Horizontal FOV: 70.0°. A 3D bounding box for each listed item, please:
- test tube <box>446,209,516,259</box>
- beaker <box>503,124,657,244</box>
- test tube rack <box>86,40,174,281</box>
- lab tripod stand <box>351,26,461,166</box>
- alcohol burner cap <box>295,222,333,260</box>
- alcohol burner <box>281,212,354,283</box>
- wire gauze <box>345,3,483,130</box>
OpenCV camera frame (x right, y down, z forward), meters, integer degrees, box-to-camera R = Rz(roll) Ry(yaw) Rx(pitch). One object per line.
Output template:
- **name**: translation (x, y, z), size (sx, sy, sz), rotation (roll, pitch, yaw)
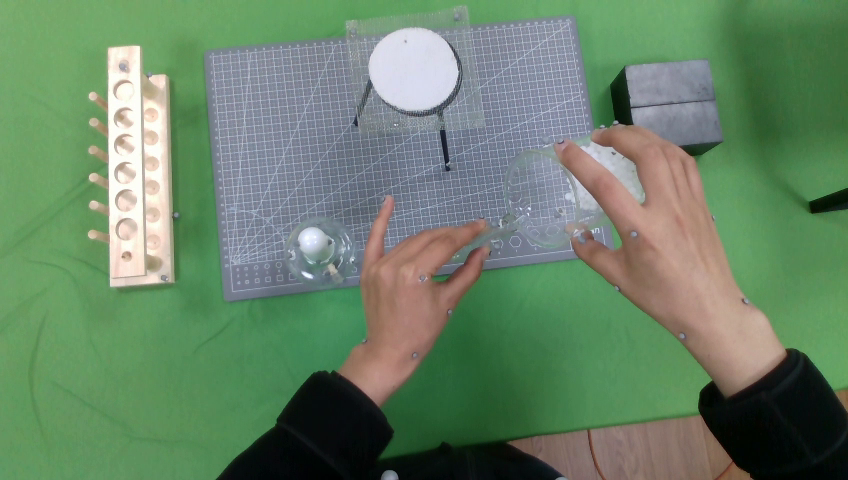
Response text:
- **test tube**: translation (0.047, -0.002, 0.543), size (0.017, 0.150, 0.017), rotation (3, 78, -14)
- **beaker**: translation (0.120, -0.045, 0.462), size (0.100, 0.084, 0.073), rotation (-19, 78, -30)
- **test tube rack**: translation (-0.322, -0.081, 0.652), size (0.067, 0.085, 0.241), rotation (-4, 82, -3)
- **lab tripod stand**: translation (-0.011, -0.161, 0.654), size (0.148, 0.132, 0.148), rotation (0, 80, -2)
- **alcohol burner cap**: translation (-0.111, 0.000, 0.599), size (0.034, 0.048, 0.033), rotation (-1, 76, 3)
- **alcohol burner**: translation (-0.113, 0.005, 0.635), size (0.078, 0.119, 0.077), rotation (1, 81, -4)
- **wire gauze**: translation (-0.011, -0.167, 0.587), size (0.125, 0.011, 0.121), rotation (-6, 83, -4)
